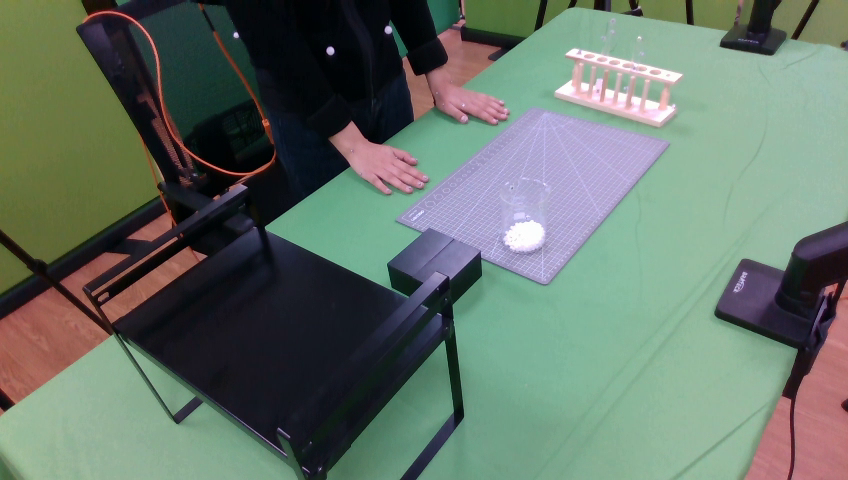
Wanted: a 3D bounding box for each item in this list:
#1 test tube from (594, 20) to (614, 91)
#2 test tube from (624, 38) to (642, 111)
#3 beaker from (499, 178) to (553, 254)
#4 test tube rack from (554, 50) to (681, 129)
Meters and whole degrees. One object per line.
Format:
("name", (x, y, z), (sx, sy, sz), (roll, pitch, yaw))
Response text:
("test tube", (0.366, -0.372, 1.233), (0.017, 0.151, 0.017), (-1, 43, 1))
("test tube", (0.404, -0.318, 1.171), (0.017, 0.151, 0.017), (-4, 42, 4))
("beaker", (0.157, -0.036, 0.929), (0.084, 0.100, 0.073), (-16, 41, -12))
("test tube rack", (0.387, -0.311, 1.234), (0.240, 0.085, 0.067), (28, 52, 35))
